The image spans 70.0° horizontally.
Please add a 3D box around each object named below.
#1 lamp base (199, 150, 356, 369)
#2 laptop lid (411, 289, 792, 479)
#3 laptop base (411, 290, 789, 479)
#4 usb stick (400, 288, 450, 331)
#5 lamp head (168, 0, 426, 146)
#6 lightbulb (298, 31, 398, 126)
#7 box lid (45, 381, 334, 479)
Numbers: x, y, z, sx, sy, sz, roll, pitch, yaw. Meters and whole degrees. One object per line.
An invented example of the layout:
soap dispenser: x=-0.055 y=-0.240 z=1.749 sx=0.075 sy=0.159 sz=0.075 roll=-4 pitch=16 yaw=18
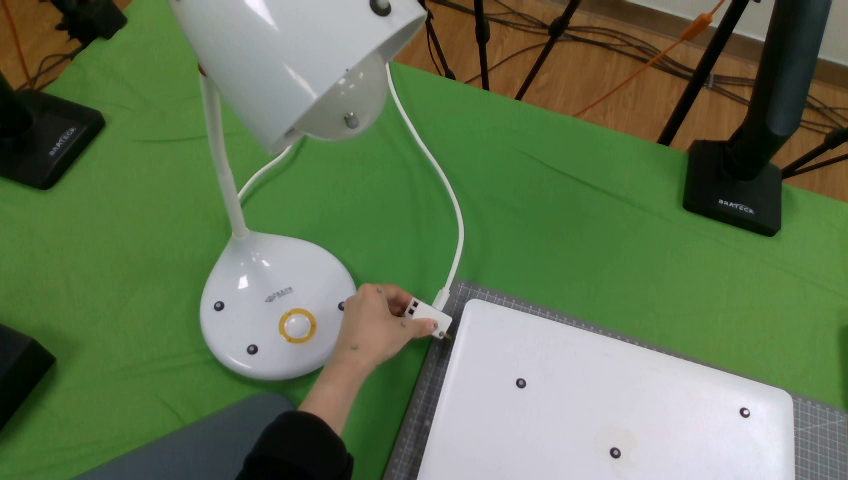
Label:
lamp base: x=-0.154 y=0.011 z=0.573 sx=0.160 sy=0.181 sz=0.178 roll=-38 pitch=67 yaw=-25
laptop lid: x=0.180 y=0.195 z=0.584 sx=0.356 sy=0.013 sz=0.240 roll=17 pitch=62 yaw=4
laptop base: x=0.180 y=0.199 z=0.596 sx=0.354 sy=0.023 sz=0.234 roll=16 pitch=63 yaw=3
usb stick: x=0.007 y=0.075 z=0.628 sx=0.060 sy=0.021 sz=0.027 roll=35 pitch=84 yaw=-30
lamp head: x=-0.079 y=-0.125 z=0.309 sx=0.123 sy=0.112 sz=0.112 roll=46 pitch=63 yaw=-7
lightbulb: x=-0.050 y=-0.112 z=0.305 sx=0.059 sy=0.059 sz=0.108 roll=-20 pitch=102 yaw=-17
box lid: x=-0.166 y=0.319 z=0.491 sx=0.263 sy=0.015 sz=0.368 roll=-23 pitch=66 yaw=-18
